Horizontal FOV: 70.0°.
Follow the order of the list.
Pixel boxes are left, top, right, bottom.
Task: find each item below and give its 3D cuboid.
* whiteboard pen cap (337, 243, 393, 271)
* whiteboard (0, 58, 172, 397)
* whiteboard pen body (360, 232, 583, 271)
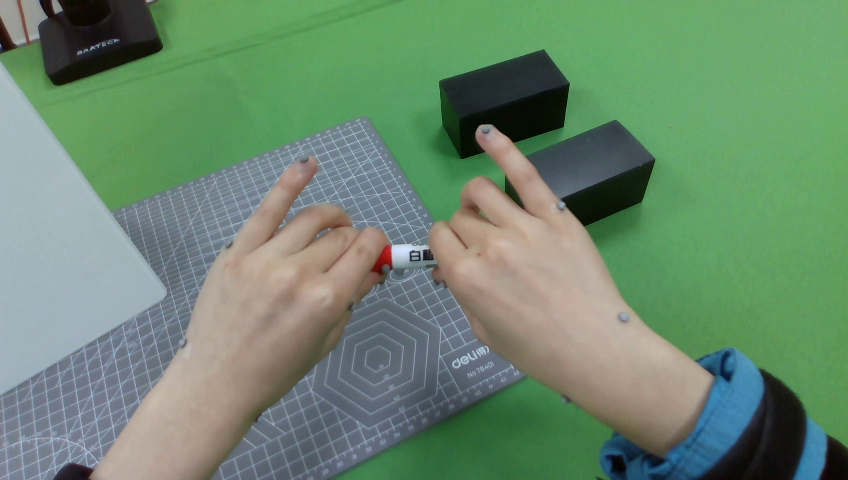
[{"bbox_3d":[-0.034,0.010,0.358,0.032,0.017,0.017,-1,54,-2],"label":"whiteboard pen cap"},{"bbox_3d":[-0.356,-0.046,0.397,0.217,0.308,0.142,-32,39,-16],"label":"whiteboard"},{"bbox_3d":[0.024,0.007,0.356,0.141,0.017,0.016,-4,54,-3],"label":"whiteboard pen body"}]
